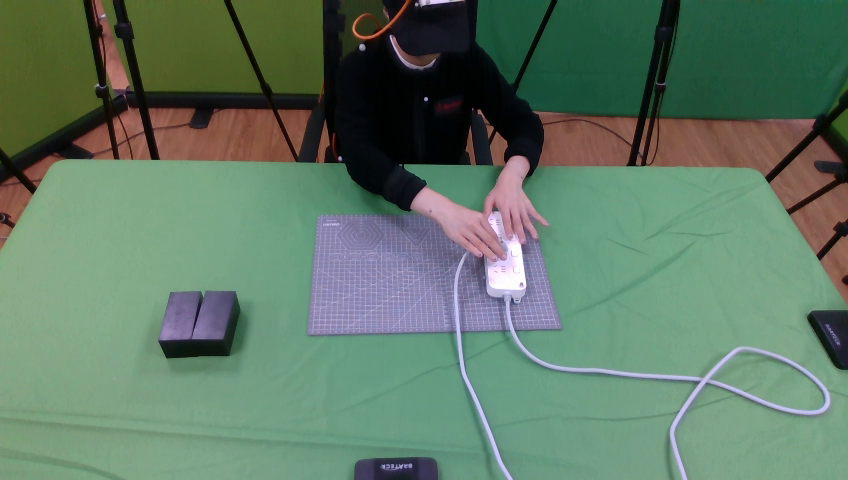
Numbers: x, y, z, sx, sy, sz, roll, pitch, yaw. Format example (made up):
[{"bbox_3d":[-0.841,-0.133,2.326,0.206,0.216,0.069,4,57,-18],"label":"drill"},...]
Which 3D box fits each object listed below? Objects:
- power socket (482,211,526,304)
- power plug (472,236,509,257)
[{"bbox_3d":[0.152,0.024,1.173,0.072,0.033,0.225,3,46,-2],"label":"power socket"},{"bbox_3d":[0.126,0.012,1.150,0.072,0.053,0.035,13,47,7],"label":"power plug"}]
